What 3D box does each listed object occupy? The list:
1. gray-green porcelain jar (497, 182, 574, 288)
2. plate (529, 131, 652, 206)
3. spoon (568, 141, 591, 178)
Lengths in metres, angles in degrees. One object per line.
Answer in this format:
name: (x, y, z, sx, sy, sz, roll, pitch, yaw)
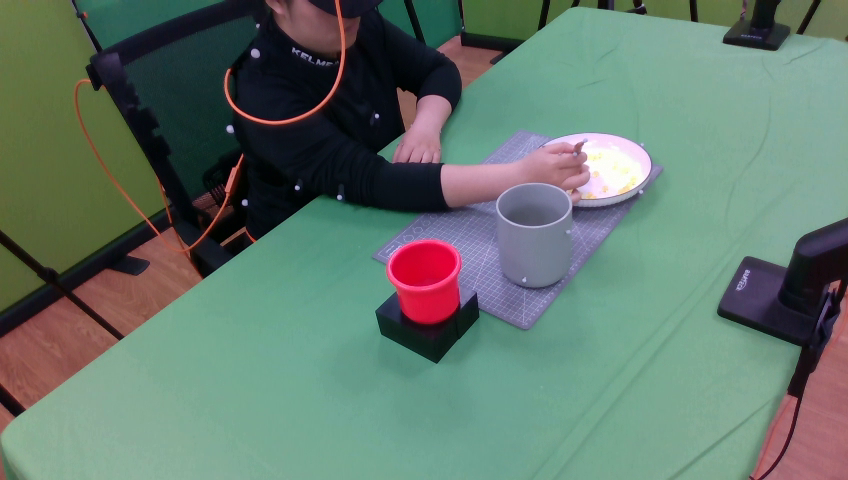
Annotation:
gray-green porcelain jar: (0.161, -0.003, 0.869, 0.106, 0.127, 0.105, -5, 40, 5)
plate: (0.287, -0.121, 1.056, 0.207, 0.039, 0.206, -5, 40, 5)
spoon: (0.248, -0.129, 0.972, 0.041, 0.195, 0.021, -21, 75, 11)
